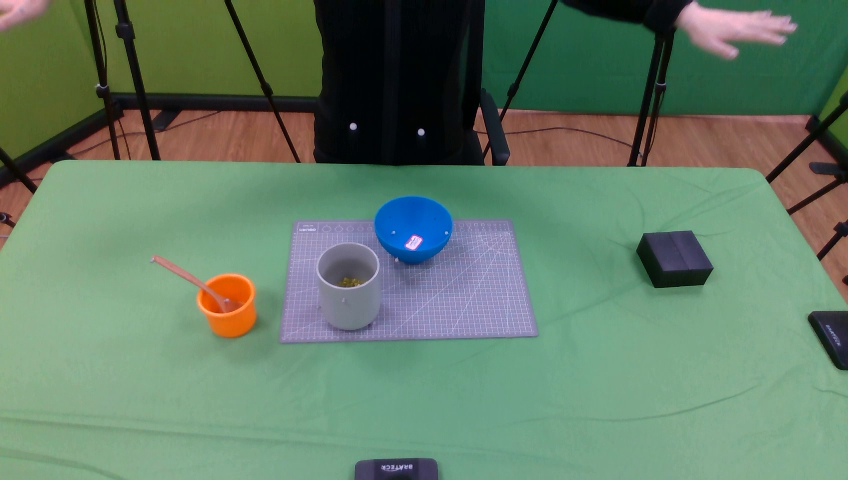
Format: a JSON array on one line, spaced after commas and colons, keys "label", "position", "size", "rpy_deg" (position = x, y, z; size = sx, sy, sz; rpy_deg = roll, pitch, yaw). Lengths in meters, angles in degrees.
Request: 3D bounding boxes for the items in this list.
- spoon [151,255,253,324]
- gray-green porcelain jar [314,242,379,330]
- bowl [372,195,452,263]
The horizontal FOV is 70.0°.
[{"label": "spoon", "position": [-0.365, 0.080, 1.004], "size": [0.021, 0.195, 0.041], "rpy_deg": [-27, 32, 33]}, {"label": "gray-green porcelain jar", "position": [-0.129, 0.083, 1.031], "size": [0.106, 0.127, 0.105], "rpy_deg": [2, 46, -2]}, {"label": "bowl", "position": [-0.023, -0.008, 1.161], "size": [0.151, 0.077, 0.150], "rpy_deg": [2, 46, -2]}]
